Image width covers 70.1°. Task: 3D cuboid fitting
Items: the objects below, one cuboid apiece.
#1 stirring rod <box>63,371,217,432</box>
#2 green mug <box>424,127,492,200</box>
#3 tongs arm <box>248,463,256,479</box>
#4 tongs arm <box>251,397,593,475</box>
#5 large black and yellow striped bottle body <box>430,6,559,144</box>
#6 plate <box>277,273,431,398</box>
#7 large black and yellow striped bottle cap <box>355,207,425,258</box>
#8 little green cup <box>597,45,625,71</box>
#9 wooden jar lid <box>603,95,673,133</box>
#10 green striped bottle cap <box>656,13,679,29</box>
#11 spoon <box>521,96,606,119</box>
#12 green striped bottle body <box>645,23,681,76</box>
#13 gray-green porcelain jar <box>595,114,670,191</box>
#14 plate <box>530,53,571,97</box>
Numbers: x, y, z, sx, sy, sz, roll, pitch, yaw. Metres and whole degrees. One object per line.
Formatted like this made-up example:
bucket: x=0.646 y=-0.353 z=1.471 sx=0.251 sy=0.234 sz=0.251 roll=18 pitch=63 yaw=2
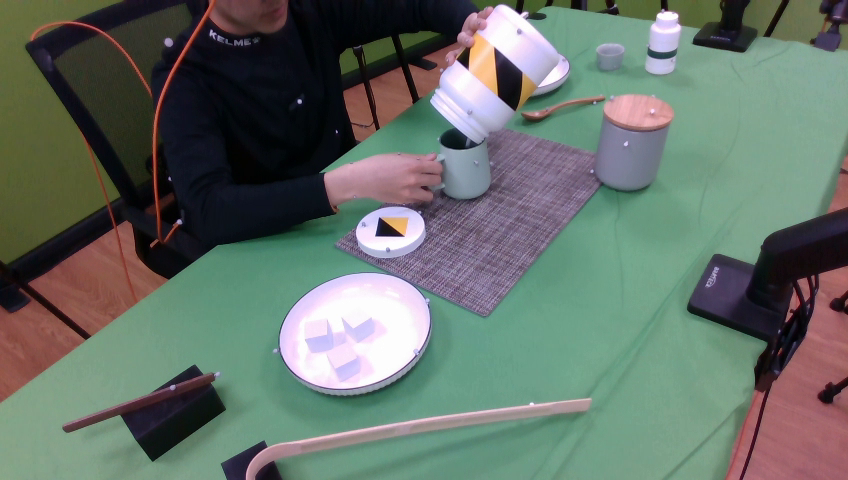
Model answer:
stirring rod: x=-0.337 y=0.192 z=0.723 sx=0.177 sy=0.014 sz=0.005 roll=-18 pitch=42 yaw=-12
green mug: x=0.055 y=-0.125 z=1.038 sx=0.126 sy=0.105 sz=0.091 roll=-26 pitch=44 yaw=-20
tongs arm: x=0.012 y=0.262 z=0.615 sx=0.385 sy=0.026 sz=0.050 roll=2 pitch=42 yaw=-2
tongs arm: x=0.008 y=0.212 z=0.675 sx=0.389 sy=0.028 sz=0.028 roll=-5 pitch=46 yaw=-11
large black and yellow striped bottle body: x=0.108 y=-0.258 z=0.963 sx=0.183 sy=0.132 sz=0.129 roll=-49 pitch=41 yaw=15
plate: x=-0.091 y=0.129 z=0.821 sx=0.207 sy=0.039 sz=0.206 roll=-4 pitch=40 yaw=4
large black and yellow striped bottle cap: x=-0.056 y=-0.014 z=0.993 sx=0.115 sy=0.019 sz=0.114 roll=-3 pitch=40 yaw=3
little green cup: x=0.423 y=-0.413 z=1.375 sx=0.061 sy=0.039 sz=0.061 roll=-3 pitch=41 yaw=3
wooden jar lid: x=0.343 y=-0.200 z=0.974 sx=0.108 sy=0.021 sz=0.108 roll=-2 pitch=39 yaw=2
green striped bottle cap: x=0.515 y=-0.463 z=1.278 sx=0.044 sy=0.020 sz=0.044 roll=-6 pitch=42 yaw=6
spoon: x=0.291 y=-0.277 z=1.249 sx=0.194 sy=0.022 sz=0.041 roll=-17 pitch=27 yaw=-11
green striped bottle body: x=0.520 y=-0.424 z=1.312 sx=0.063 sy=0.120 sz=0.063 roll=-4 pitch=40 yaw=4
gray-green porcelain jar: x=0.346 y=-0.155 z=1.017 sx=0.106 sy=0.127 sz=0.105 roll=-2 pitch=43 yaw=2
plate: x=0.223 y=-0.371 z=1.357 sx=0.209 sy=0.038 sz=0.208 roll=-4 pitch=41 yaw=4
